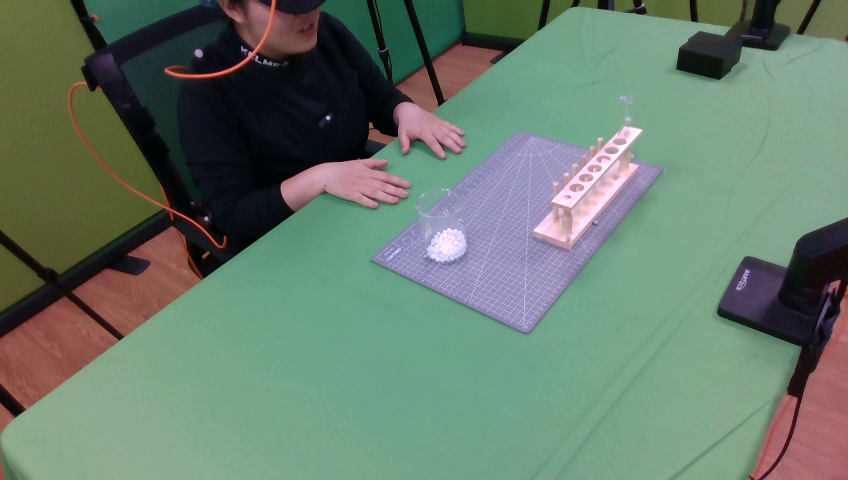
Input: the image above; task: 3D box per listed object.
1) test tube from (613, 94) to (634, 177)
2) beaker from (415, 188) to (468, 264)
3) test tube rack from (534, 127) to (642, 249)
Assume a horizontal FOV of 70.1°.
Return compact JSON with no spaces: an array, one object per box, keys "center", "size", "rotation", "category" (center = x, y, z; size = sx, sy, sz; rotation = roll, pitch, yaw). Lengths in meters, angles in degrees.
[{"center":[0.325,-0.168,0.989],"size":[0.017,0.151,0.017],"rotation":[-3,40,3],"category":"test tube"},{"center":[0.031,-0.021,0.937],"size":[0.073,0.101,0.084],"rotation":[8,42,20],"category":"beaker"},{"center":[0.271,-0.095,0.990],"size":[0.066,0.085,0.243],"rotation":[23,49,33],"category":"test tube rack"}]
